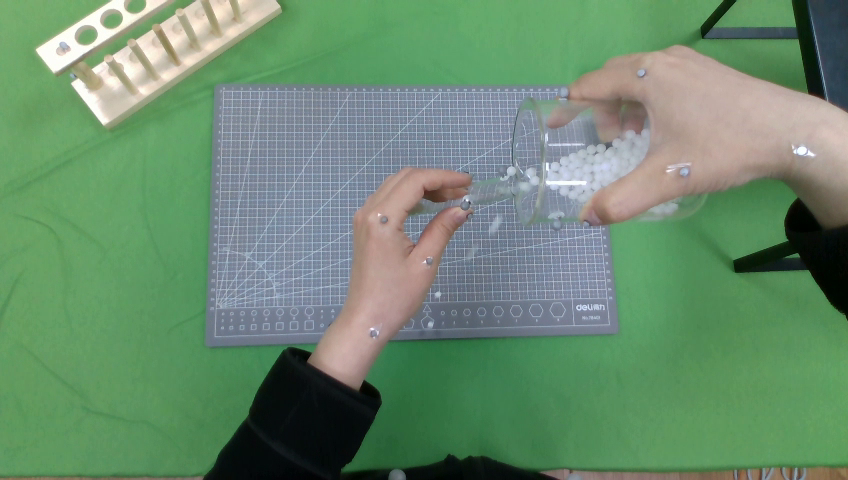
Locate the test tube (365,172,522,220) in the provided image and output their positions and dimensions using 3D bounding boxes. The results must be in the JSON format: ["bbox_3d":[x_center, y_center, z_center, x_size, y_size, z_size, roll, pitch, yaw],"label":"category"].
[{"bbox_3d":[0.007,-0.030,0.441,0.017,0.149,0.017,7,80,-44],"label":"test tube"}]

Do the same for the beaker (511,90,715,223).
[{"bbox_3d":[0.106,-0.046,0.356,0.100,0.084,0.073,-1,75,-4],"label":"beaker"}]

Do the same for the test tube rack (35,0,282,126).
[{"bbox_3d":[-0.281,-0.235,0.667,0.242,0.085,0.066,-38,83,-10],"label":"test tube rack"}]
